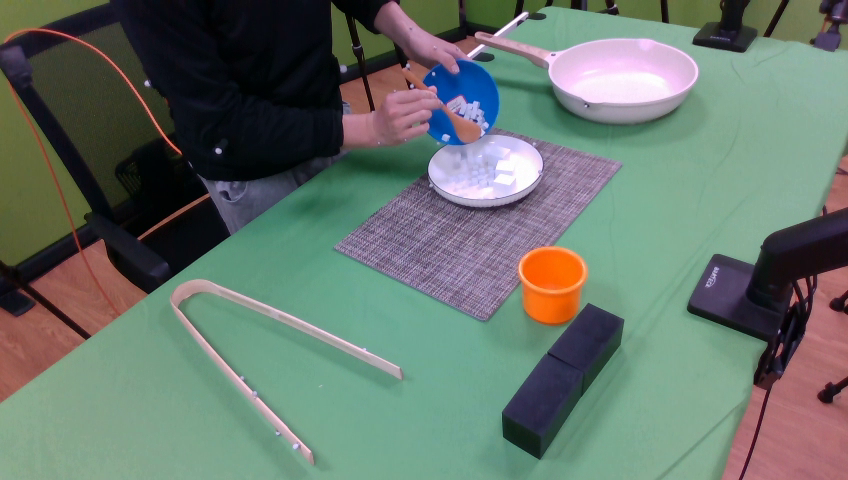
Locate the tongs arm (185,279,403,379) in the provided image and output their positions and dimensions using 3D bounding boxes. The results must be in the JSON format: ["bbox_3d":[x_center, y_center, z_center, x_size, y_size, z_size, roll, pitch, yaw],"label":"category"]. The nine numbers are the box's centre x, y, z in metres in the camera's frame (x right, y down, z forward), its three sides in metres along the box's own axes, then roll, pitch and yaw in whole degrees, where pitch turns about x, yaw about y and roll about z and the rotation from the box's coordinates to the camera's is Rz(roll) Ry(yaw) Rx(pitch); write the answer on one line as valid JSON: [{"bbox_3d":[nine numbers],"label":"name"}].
[{"bbox_3d":[-0.194,0.120,0.853,0.385,0.028,0.028,17,49,26],"label":"tongs arm"}]

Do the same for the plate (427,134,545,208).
[{"bbox_3d":[0.109,-0.119,1.073,0.207,0.039,0.206,-4,41,4],"label":"plate"}]

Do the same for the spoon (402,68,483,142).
[{"bbox_3d":[0.031,-0.221,1.000,0.041,0.195,0.021,-38,36,24],"label":"spoon"}]

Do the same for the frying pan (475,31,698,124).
[{"bbox_3d":[0.320,-0.371,1.290,0.485,0.103,0.307,28,50,23],"label":"frying pan"}]

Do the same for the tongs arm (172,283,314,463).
[{"bbox_3d":[-0.246,0.161,0.806,0.381,0.026,0.051,28,51,36],"label":"tongs arm"}]

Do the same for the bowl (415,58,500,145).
[{"bbox_3d":[0.061,-0.251,1.104,0.151,0.151,0.077,-4,12,4],"label":"bowl"}]
